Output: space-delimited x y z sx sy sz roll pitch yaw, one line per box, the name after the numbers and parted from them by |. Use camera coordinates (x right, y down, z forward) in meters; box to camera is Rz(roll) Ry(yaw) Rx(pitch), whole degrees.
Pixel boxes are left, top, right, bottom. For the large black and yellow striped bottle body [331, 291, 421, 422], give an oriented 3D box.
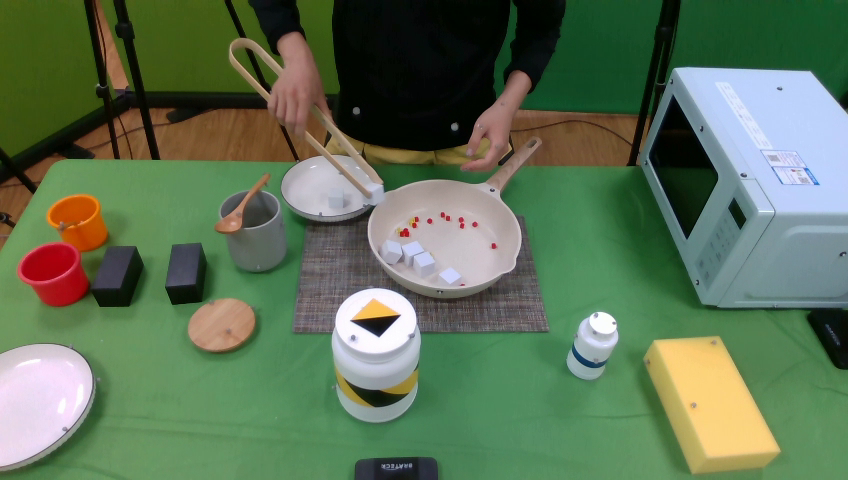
-0.071 0.175 0.911 0.131 0.185 0.130 2 47 -2 | large black and yellow striped bottle body

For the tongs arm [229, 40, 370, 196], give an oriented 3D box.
-0.236 -0.225 1.134 0.387 0.028 0.028 46 68 1 | tongs arm

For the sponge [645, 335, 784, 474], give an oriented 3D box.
0.449 0.253 0.956 0.118 0.061 0.205 -4 46 -7 | sponge

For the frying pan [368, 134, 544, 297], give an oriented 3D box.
0.104 -0.069 1.205 0.305 0.103 0.487 32 61 23 | frying pan

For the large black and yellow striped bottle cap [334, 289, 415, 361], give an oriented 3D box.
-0.069 0.117 0.850 0.115 0.019 0.114 2 45 -2 | large black and yellow striped bottle cap

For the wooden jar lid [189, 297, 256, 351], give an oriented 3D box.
-0.342 0.145 1.033 0.108 0.021 0.107 2 45 -2 | wooden jar lid

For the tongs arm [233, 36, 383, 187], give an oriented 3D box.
-0.221 -0.240 1.145 0.051 0.026 0.384 -39 87 -26 | tongs arm

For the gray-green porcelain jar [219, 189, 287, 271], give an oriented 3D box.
-0.310 -0.014 1.113 0.106 0.127 0.105 2 46 -2 | gray-green porcelain jar

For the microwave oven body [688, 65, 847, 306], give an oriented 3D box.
0.669 -0.111 1.176 0.326 0.261 0.439 0 46 -3 | microwave oven body

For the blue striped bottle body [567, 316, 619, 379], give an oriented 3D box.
0.276 0.168 0.984 0.063 0.121 0.062 2 46 -2 | blue striped bottle body

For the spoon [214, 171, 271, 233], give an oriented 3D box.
-0.312 -0.070 1.070 0.041 0.022 0.193 9 43 10 | spoon

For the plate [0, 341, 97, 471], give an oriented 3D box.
-0.599 0.247 0.904 0.209 0.038 0.208 2 47 -2 | plate

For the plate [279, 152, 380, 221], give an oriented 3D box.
-0.196 -0.108 1.269 0.208 0.039 0.206 2 45 -2 | plate

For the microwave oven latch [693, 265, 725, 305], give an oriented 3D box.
0.523 0.081 1.116 0.030 0.029 0.078 2 46 -1 | microwave oven latch

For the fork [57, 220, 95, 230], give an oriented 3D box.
-0.624 -0.027 1.086 0.028 0.207 0.018 -3 92 -17 | fork

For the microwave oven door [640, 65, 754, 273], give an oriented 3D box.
0.522 -0.147 1.193 0.039 0.245 0.353 0 47 -3 | microwave oven door

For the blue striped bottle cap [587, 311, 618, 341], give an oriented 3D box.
0.279 0.134 0.947 0.044 0.021 0.044 2 45 -2 | blue striped bottle cap
